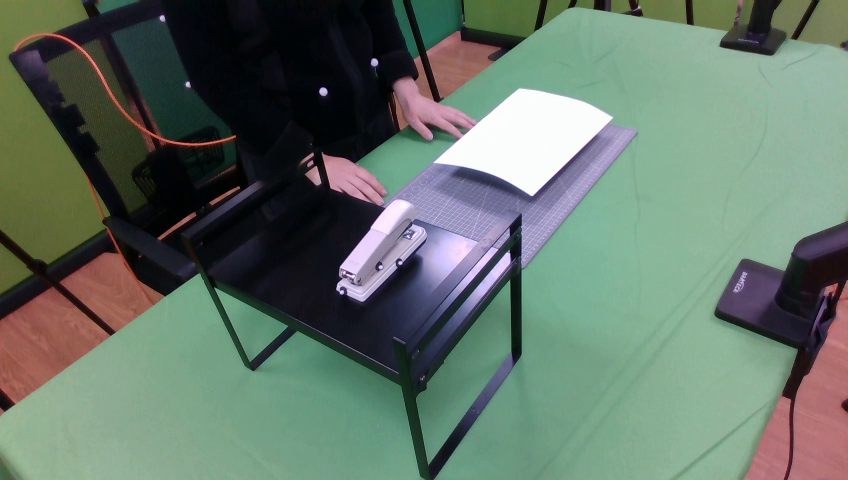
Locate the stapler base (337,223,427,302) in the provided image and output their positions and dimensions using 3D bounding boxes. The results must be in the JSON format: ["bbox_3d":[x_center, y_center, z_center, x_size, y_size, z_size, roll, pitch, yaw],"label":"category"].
[{"bbox_3d":[-0.046,0.016,0.685,0.041,0.024,0.131,18,48,31],"label":"stapler base"}]

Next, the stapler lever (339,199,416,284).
[{"bbox_3d":[-0.050,-0.001,0.668,0.026,0.040,0.118,18,47,31],"label":"stapler lever"}]
